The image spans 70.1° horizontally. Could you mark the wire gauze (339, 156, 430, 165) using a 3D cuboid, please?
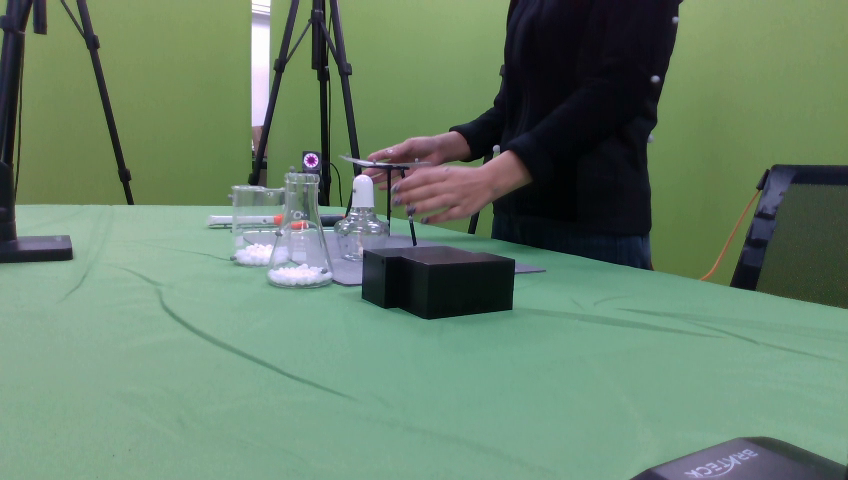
[{"bbox_3d":[-0.067,-0.132,1.022,0.122,0.011,0.124,-1,9,-31],"label":"wire gauze"}]

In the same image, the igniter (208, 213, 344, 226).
[{"bbox_3d":[-0.283,-0.041,1.200,0.278,0.025,0.057,-2,-2,-34],"label":"igniter"}]

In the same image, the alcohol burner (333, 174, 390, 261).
[{"bbox_3d":[-0.085,-0.031,0.832,0.078,0.119,0.078,3,6,0],"label":"alcohol burner"}]

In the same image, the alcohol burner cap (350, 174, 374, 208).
[{"bbox_3d":[-0.085,-0.067,0.829,0.034,0.048,0.034,0,2,0],"label":"alcohol burner cap"}]

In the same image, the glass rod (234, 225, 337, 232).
[{"bbox_3d":[-0.256,-0.023,1.136,0.201,0.008,0.008,-3,9,-33],"label":"glass rod"}]

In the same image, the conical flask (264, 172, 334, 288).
[{"bbox_3d":[-0.136,-0.013,0.660,0.075,0.122,0.075,2,7,0],"label":"conical flask"}]

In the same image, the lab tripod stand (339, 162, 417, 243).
[{"bbox_3d":[-0.067,-0.065,1.027,0.148,0.131,0.148,4,7,0],"label":"lab tripod stand"}]

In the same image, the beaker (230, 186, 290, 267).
[{"bbox_3d":[-0.209,-0.019,0.778,0.074,0.100,0.084,3,6,4],"label":"beaker"}]
